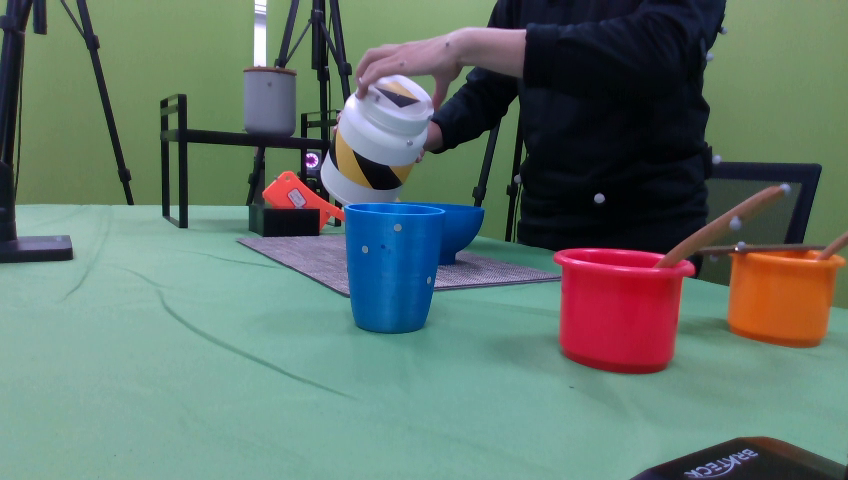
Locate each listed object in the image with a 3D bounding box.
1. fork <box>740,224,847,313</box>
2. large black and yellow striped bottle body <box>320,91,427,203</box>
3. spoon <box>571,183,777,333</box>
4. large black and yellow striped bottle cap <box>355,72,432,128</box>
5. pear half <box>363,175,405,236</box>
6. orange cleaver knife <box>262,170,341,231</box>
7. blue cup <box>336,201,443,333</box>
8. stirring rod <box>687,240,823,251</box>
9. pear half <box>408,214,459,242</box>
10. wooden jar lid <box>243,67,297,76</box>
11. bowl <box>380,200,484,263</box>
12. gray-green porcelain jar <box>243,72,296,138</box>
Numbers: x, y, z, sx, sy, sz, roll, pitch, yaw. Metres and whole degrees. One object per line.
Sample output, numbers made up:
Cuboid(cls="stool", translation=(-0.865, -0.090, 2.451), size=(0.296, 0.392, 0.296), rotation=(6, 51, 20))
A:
Cuboid(cls="fork", translation=(0.323, 0.013, 0.485), size=(0.028, 0.018, 0.207), rotation=(8, -37, -6))
Cuboid(cls="large black and yellow striped bottle body", translation=(-0.075, -0.149, 0.930), size=(0.131, 0.183, 0.130), rotation=(16, 42, -15))
Cuboid(cls="spoon", translation=(0.161, 0.020, 0.413), size=(0.042, 0.021, 0.193), rotation=(1, -36, -24))
Cuboid(cls="large black and yellow striped bottle cap", translation=(-0.043, -0.204, 0.876), size=(0.115, 0.019, 0.114), rotation=(17, 41, -15))
Cuboid(cls="pear half", translation=(-0.064, -0.061, 1.077), size=(0.055, 0.110, 0.077), rotation=(9, 14, 39))
Cuboid(cls="orange cleaver knife", translation=(-0.201, -0.057, 1.136), size=(0.212, 0.077, 0.012), rotation=(31, -3, -31))
Cuboid(cls="blue cup", translation=(-0.029, 0.021, 0.507), size=(0.093, 0.100, 0.092), rotation=(3, 9, 0))
Cuboid(cls="stirring rod", translation=(0.289, 0.005, 0.525), size=(0.177, 0.006, 0.014), rotation=(-1, 6, -26))
Cuboid(cls="pear half", translation=(0.011, -0.020, 0.848), size=(0.070, 0.031, 0.088), rotation=(5, 12, 33))
Cuboid(cls="wooden jar lid", translation=(-0.319, -0.342, 1.254), size=(0.108, 0.020, 0.108), rotation=(3, 8, 0))
Cuboid(cls="bowl", translation=(0.007, -0.012, 0.842), size=(0.151, 0.077, 0.151), rotation=(2, 7, 0))
Cuboid(cls="gray-green porcelain jar", translation=(-0.322, -0.279, 1.263), size=(0.106, 0.126, 0.106), rotation=(3, 8, 0))
